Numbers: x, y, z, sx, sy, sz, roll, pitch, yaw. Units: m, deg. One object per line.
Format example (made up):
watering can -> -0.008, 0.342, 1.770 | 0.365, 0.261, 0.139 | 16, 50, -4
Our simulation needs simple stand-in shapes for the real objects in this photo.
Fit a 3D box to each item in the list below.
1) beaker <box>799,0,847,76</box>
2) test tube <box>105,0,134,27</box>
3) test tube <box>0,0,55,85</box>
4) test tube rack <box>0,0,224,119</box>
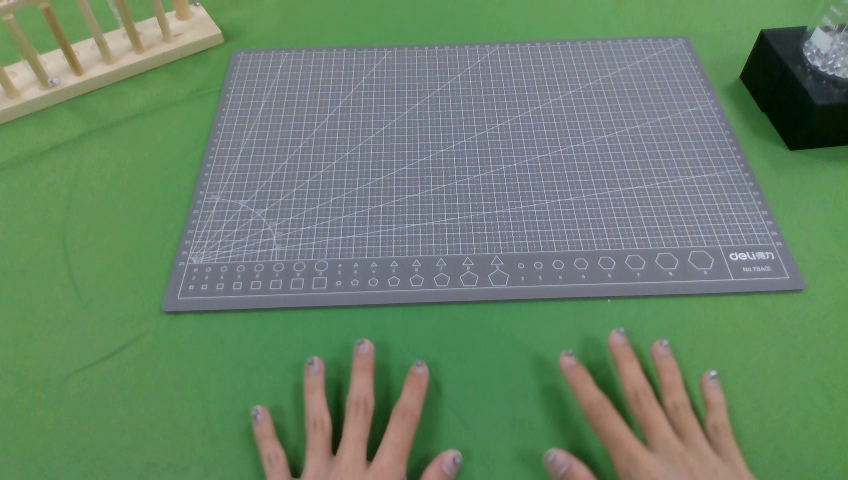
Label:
beaker -> 0.340, -0.185, 0.460 | 0.074, 0.101, 0.083 | -24, 56, -16
test tube -> -0.298, -0.256, 0.535 | 0.017, 0.152, 0.017 | -4, 54, 5
test tube -> -0.347, -0.192, 0.497 | 0.017, 0.152, 0.017 | -1, 51, 1
test tube rack -> -0.321, -0.196, 0.555 | 0.242, 0.086, 0.066 | -28, 57, -18
